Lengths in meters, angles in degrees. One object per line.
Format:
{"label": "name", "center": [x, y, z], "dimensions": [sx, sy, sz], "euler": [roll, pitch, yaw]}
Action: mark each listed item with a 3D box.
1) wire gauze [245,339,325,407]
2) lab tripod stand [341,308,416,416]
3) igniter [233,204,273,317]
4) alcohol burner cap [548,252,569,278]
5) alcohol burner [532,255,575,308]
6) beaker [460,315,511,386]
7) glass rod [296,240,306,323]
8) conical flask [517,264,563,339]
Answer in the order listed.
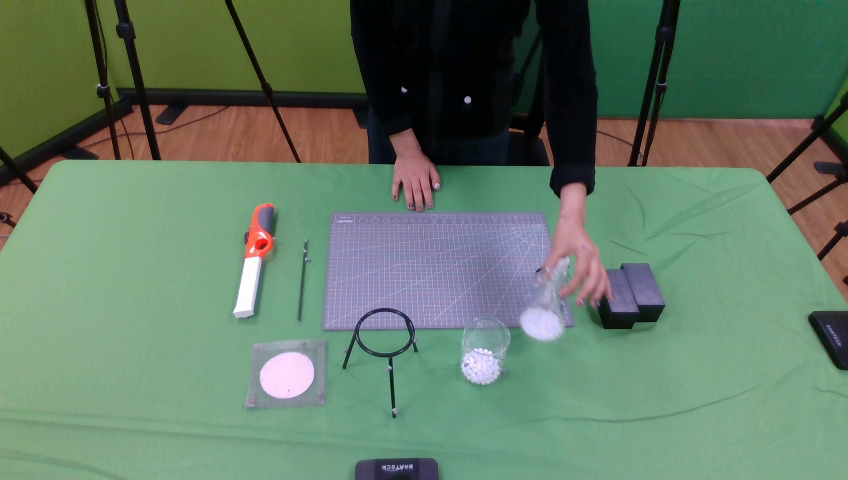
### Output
{"label": "wire gauze", "center": [-0.224, 0.215, 0.984], "dimensions": [0.125, 0.011, 0.120], "euler": [-3, 46, -5]}
{"label": "lab tripod stand", "center": [-0.061, 0.177, 0.946], "dimensions": [0.148, 0.132, 0.147], "euler": [2, 44, -2]}
{"label": "igniter", "center": [-0.321, 0.029, 1.142], "dimensions": [0.057, 0.025, 0.274], "euler": [-7, 46, 3]}
{"label": "alcohol burner cap", "center": [0.237, 0.042, 1.060], "dimensions": [0.034, 0.048, 0.033], "euler": [1, 52, -2]}
{"label": "alcohol burner", "center": [0.235, 0.066, 1.087], "dimensions": [0.078, 0.119, 0.077], "euler": [4, 45, -4]}
{"label": "beaker", "center": [0.094, 0.183, 0.977], "dimensions": [0.084, 0.101, 0.073], "euler": [-20, 50, -21]}
{"label": "glass rod", "center": [-0.227, 0.072, 1.121], "dimensions": [0.008, 0.008, 0.198], "euler": [-1, 46, -5]}
{"label": "conical flask", "center": [0.192, 0.094, 0.962], "dimensions": [0.075, 0.122, 0.075], "euler": [2, 42, -1]}
